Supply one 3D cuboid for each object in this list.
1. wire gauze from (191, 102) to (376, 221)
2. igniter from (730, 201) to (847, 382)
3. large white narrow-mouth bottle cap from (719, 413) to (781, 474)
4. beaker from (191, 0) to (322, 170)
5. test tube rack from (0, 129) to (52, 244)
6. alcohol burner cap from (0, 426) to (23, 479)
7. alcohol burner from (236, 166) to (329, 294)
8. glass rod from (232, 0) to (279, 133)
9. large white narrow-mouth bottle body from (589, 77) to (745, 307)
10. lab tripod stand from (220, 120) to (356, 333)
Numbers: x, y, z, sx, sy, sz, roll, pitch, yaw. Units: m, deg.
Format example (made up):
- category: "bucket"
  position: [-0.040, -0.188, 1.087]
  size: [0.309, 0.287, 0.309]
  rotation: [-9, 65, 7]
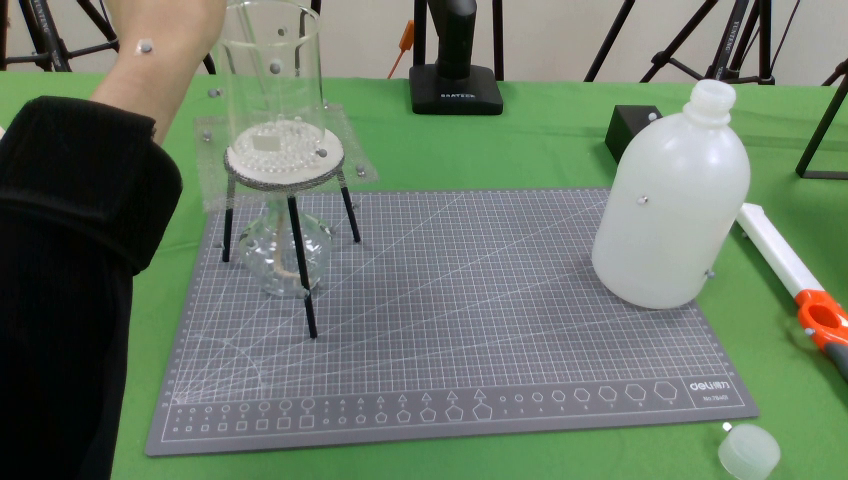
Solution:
- category: "wire gauze"
  position: [-0.110, -0.068, 0.459]
  size: [0.122, 0.011, 0.123]
  rotation: [-12, 48, -16]
- category: "igniter"
  position: [0.347, 0.055, 0.543]
  size: [0.057, 0.025, 0.273]
  rotation: [8, 40, -12]
- category: "large white narrow-mouth bottle cap"
  position: [0.234, 0.146, 0.435]
  size: [0.038, 0.024, 0.037]
  rotation: [2, 41, -2]
- category: "beaker"
  position: [-0.112, -0.107, 0.428]
  size: [0.084, 0.101, 0.073]
  rotation: [-6, 44, -12]
- category: "test tube rack"
  position: [-0.461, -0.011, 0.501]
  size: [0.066, 0.086, 0.242]
  rotation: [34, 49, 29]
- category: "alcohol burner cap"
  position: [-0.283, 0.133, 0.387]
  size: [0.034, 0.048, 0.033]
  rotation: [4, 41, -3]
- category: "alcohol burner"
  position: [-0.119, -0.012, 0.508]
  size: [0.078, 0.120, 0.077]
  rotation: [4, 40, -3]
- category: "glass rod"
  position: [-0.124, -0.156, 0.400]
  size: [0.008, 0.201, 0.008]
  rotation: [-3, 43, 3]
- category: "large white narrow-mouth bottle body"
  position: [0.207, -0.041, 0.509]
  size: [0.102, 0.196, 0.101]
  rotation: [2, 41, -1]
- category: "lab tripod stand"
  position: [-0.110, -0.018, 0.501]
  size: [0.148, 0.132, 0.147]
  rotation: [4, 42, -3]
